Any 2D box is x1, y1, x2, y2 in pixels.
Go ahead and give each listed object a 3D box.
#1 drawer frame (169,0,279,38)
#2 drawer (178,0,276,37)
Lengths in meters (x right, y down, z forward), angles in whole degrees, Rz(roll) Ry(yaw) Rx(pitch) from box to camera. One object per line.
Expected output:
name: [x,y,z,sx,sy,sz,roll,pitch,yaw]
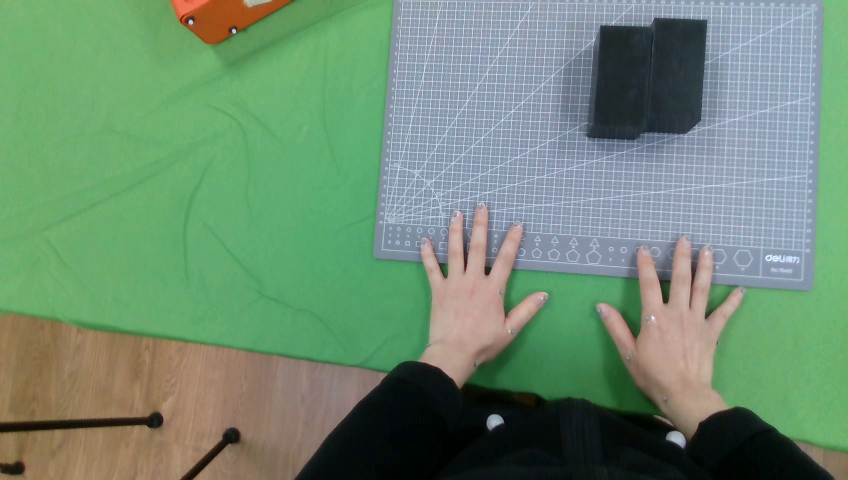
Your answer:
drawer frame: [-0.213,-0.369,0.668,0.201,0.083,0.213,-28,82,5]
drawer: [-0.212,-0.367,0.671,0.194,0.073,0.211,-28,82,5]
